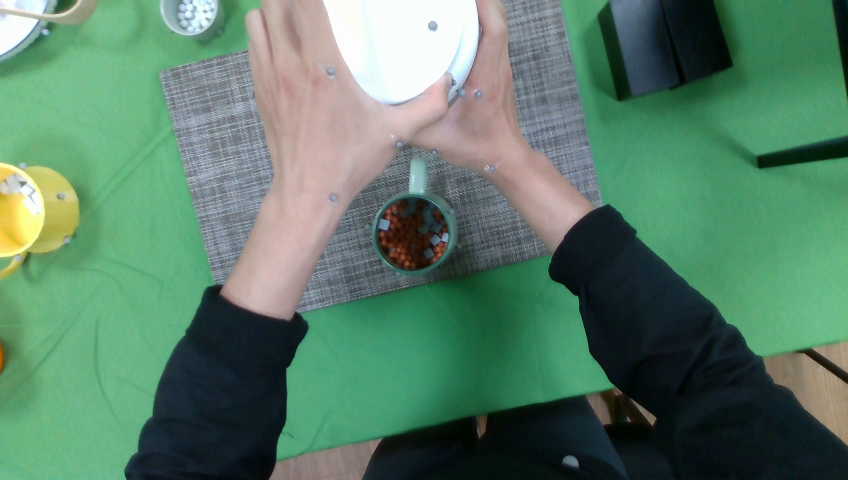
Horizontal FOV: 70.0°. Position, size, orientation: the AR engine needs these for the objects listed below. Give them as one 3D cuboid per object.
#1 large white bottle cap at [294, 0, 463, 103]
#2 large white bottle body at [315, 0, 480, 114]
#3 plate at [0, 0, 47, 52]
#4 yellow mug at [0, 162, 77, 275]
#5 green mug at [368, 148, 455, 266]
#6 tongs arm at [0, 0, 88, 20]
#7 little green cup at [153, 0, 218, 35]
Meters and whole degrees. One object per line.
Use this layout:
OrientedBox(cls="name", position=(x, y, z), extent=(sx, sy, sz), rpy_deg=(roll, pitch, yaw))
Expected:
OrientedBox(cls="large white bottle cap", position=(-0.031, -0.151, 0.410), extent=(0.115, 0.018, 0.115), rpy_deg=(1, 104, 6))
OrientedBox(cls="large white bottle body", position=(-0.022, -0.169, 0.492), extent=(0.130, 0.184, 0.131), rpy_deg=(1, 102, 6))
OrientedBox(cls="plate", position=(-0.503, -0.300, 0.659), extent=(0.208, 0.039, 0.208), rpy_deg=(0, 95, 1))
OrientedBox(cls="yellow mug", position=(-0.456, -0.022, 0.669), extent=(0.100, 0.064, 0.131), rpy_deg=(19, 96, -1))
OrientedBox(cls="green mug", position=(-0.013, -0.033, 0.636), extent=(0.092, 0.105, 0.125), rpy_deg=(3, 94, 2))
OrientedBox(cls="tongs arm", position=(-0.543, -0.282, 0.629), extent=(0.385, 0.026, 0.051), rpy_deg=(15, 92, 2))
OrientedBox(cls="little green cup", position=(-0.256, -0.253, 0.658), extent=(0.061, 0.038, 0.061), rpy_deg=(0, 96, 1))
